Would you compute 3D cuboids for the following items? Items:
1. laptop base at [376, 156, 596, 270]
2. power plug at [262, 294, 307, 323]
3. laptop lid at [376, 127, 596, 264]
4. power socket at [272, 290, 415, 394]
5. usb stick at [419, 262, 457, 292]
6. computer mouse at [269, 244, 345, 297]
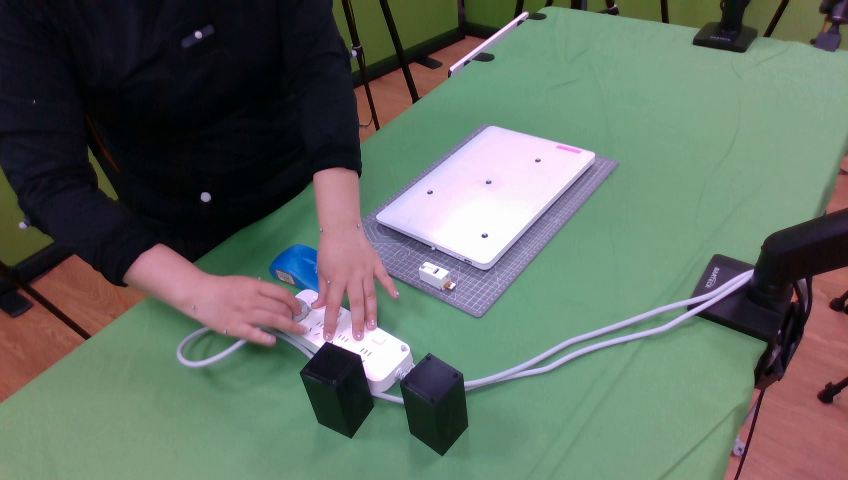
[{"bbox_3d":[0.115,-0.086,1.056,0.233,0.023,0.355,21,48,34],"label":"laptop base"},{"bbox_3d":[-0.193,0.101,0.821,0.073,0.053,0.035,-19,33,-38],"label":"power plug"},{"bbox_3d":[0.112,-0.096,1.050,0.239,0.013,0.358,24,49,35],"label":"laptop lid"},{"bbox_3d":[-0.115,0.133,0.819,0.225,0.033,0.072,25,48,31],"label":"power socket"},{"bbox_3d":[0.022,0.057,0.892,0.058,0.027,0.021,25,49,30],"label":"usb stick"},{"bbox_3d":[-0.181,0.044,0.932,0.116,0.041,0.063,23,46,25],"label":"computer mouse"}]
